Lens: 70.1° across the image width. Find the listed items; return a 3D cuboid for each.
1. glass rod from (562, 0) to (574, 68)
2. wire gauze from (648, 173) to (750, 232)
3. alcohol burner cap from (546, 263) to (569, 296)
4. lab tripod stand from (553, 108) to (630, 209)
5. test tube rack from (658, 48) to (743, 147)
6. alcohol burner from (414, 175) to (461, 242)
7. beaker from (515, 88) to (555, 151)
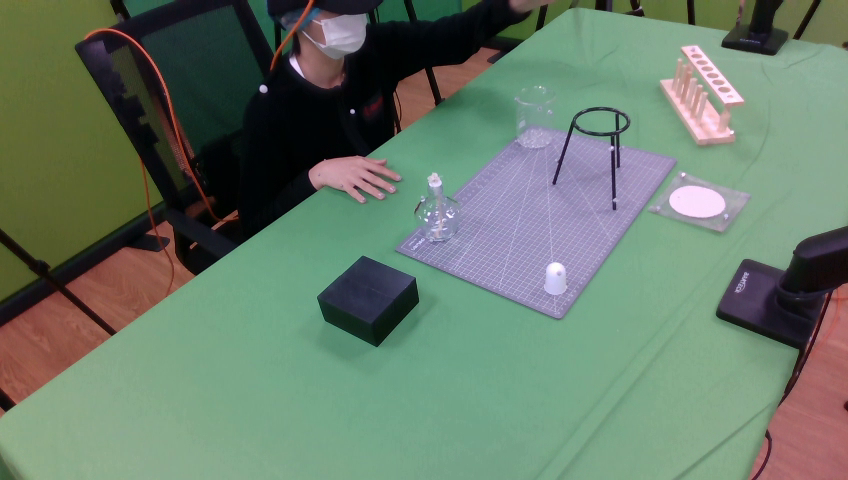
[{"bbox_3d":[0.245,-0.393,1.048,0.008,0.201,0.008,-12,36,9],"label":"glass rod"},{"bbox_3d":[0.451,-0.062,0.990,0.120,0.011,0.125,26,49,32],"label":"wire gauze"},{"bbox_3d":[0.191,0.053,0.862,0.034,0.048,0.033,-5,40,4],"label":"alcohol burner cap"},{"bbox_3d":[0.292,-0.144,1.010,0.148,0.132,0.147,-5,38,4],"label":"lab tripod stand"},{"bbox_3d":[0.532,-0.284,1.181,0.067,0.085,0.241,-5,40,4],"label":"test tube rack"},{"bbox_3d":[0.021,-0.055,0.963,0.078,0.119,0.077,-4,41,4],"label":"alcohol burner"},{"bbox_3d":[0.213,-0.230,1.152,0.073,0.101,0.084,20,47,29],"label":"beaker"}]
